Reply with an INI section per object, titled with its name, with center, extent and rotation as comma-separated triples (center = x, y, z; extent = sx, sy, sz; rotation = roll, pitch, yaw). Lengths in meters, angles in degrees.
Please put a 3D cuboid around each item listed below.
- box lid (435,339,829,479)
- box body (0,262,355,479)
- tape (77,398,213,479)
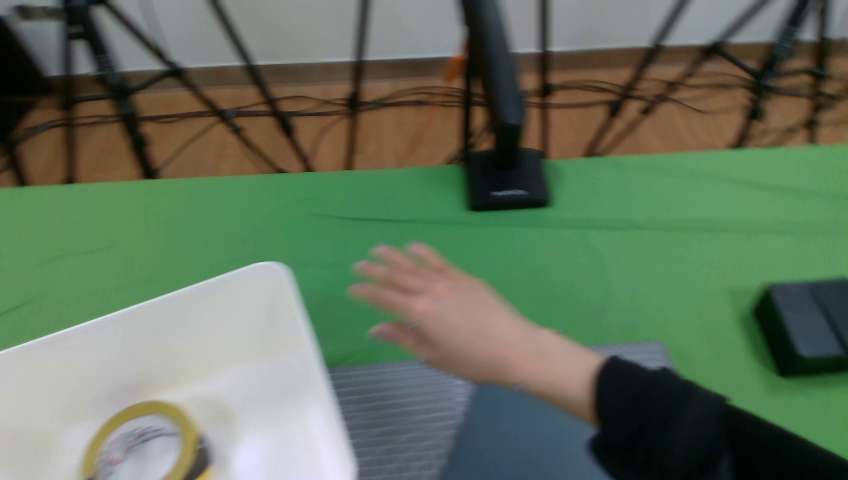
[box lid]
center = 0.202, 0.256, 0.599
extent = 0.370, 0.015, 0.261
rotation = 16, 53, 14
[box body]
center = -0.260, 0.211, 0.547
extent = 0.364, 0.162, 0.251
rotation = -21, 53, -15
[tape]
center = -0.277, 0.220, 0.604
extent = 0.117, 0.053, 0.115
rotation = -1, 50, 1
